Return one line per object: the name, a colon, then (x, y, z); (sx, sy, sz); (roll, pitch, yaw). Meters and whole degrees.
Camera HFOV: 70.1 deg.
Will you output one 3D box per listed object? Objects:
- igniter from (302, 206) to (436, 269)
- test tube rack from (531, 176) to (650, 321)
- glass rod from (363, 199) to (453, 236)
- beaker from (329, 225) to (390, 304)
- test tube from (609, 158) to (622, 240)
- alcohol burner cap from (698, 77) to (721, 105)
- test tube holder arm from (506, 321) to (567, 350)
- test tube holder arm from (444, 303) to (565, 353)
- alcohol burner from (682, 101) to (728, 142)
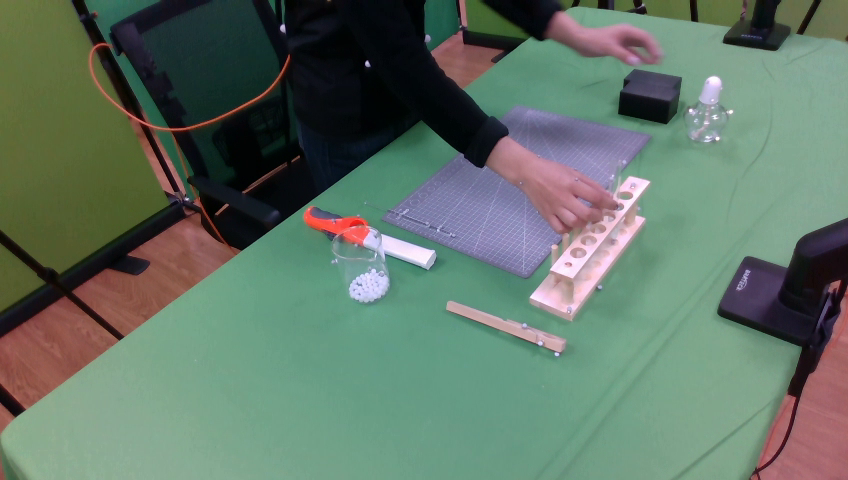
igniter: (-0.101, -0.007, 1.004); (0.274, 0.025, 0.057); (19, 57, 29)
test tube rack: (0.246, 0.002, 0.884); (0.066, 0.085, 0.243); (22, 49, 32)
glass rod: (-0.031, -0.041, 1.041); (0.198, 0.008, 0.008); (22, 50, 31)
beaker: (-0.089, 0.040, 0.890); (0.074, 0.101, 0.083); (-32, 46, -24)
test tube: (0.274, -0.054, 0.867); (0.017, 0.151, 0.017); (-8, 44, 8)
alcohol burner cap: (0.509, -0.266, 1.072); (0.034, 0.048, 0.033); (-4, 48, 5)
test tube holder arm: (0.148, 0.128, 0.808); (0.087, 0.015, 0.010); (16, 10, 28)
test tube holder arm: (0.106, 0.117, 0.823); (0.177, 0.015, 0.013); (16, 10, 27)
alcohol burner: (0.513, -0.239, 1.097); (0.078, 0.119, 0.077); (-4, 41, 4)
